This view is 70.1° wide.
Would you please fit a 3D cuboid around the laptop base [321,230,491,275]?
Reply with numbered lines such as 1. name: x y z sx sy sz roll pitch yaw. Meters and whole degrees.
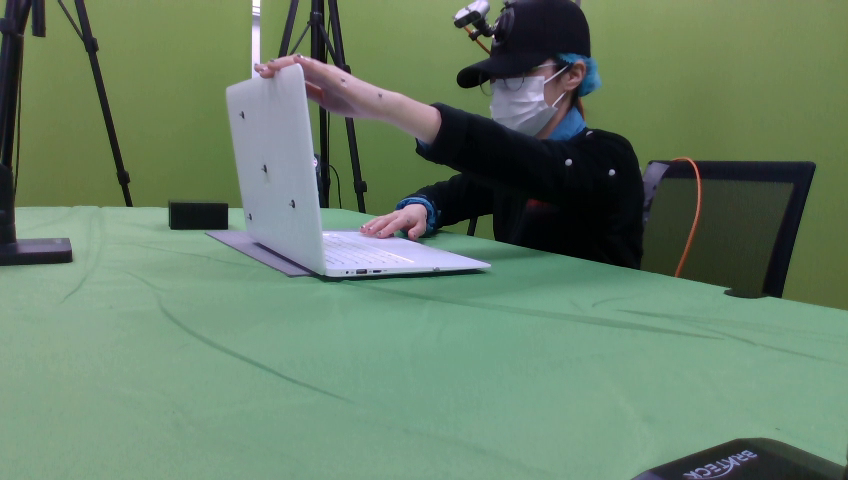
1. laptop base: -0.095 0.015 0.888 0.237 0.023 0.352 2 7 -30

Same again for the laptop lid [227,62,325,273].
1. laptop lid: -0.208 -0.098 0.805 0.013 0.241 0.355 -11 14 -28
